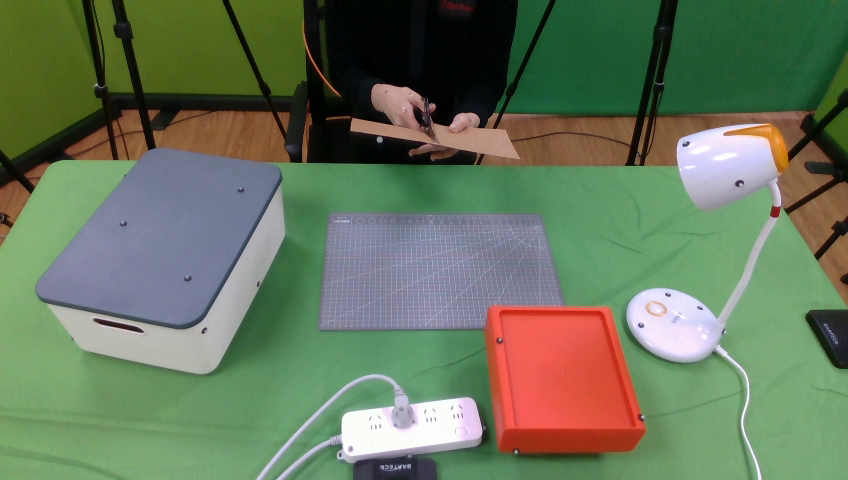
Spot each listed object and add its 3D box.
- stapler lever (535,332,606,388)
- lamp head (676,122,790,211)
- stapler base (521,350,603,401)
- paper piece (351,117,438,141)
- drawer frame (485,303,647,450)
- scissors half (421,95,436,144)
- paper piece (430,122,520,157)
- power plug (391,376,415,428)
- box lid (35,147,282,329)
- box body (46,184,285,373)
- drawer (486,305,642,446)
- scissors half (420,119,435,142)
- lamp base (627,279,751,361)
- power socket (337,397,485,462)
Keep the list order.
[{"bbox_3d":[0.225,0.182,0.929,0.118,0.040,0.027,27,34,15],"label":"stapler lever"},{"bbox_3d":[0.423,-0.104,0.819,0.122,0.113,0.112,-13,33,40],"label":"lamp head"},{"bbox_3d":[0.217,0.203,0.942,0.130,0.024,0.041,26,34,16],"label":"stapler base"},{"bbox_3d":[-0.048,-0.180,0.975,0.135,0.004,0.135,8,17,-5],"label":"paper piece"},{"bbox_3d":[0.204,0.202,0.917,0.202,0.083,0.212,1,47,-4],"label":"drawer frame"},{"bbox_3d":[0.007,-0.205,1.032,0.013,0.040,0.174,-5,37,-4],"label":"scissors half"},{"bbox_3d":[0.081,-0.167,0.994,0.136,0.009,0.137,10,25,-9],"label":"paper piece"},{"bbox_3d":[-0.030,0.249,0.917,0.035,0.053,0.072,3,46,-1],"label":"power plug"},{"bbox_3d":[-0.411,-0.023,0.987,0.263,0.015,0.369,10,47,5],"label":"box lid"},{"bbox_3d":[-0.414,0.029,1.040,0.254,0.161,0.362,10,46,5],"label":"box body"},{"bbox_3d":[0.202,0.200,0.918,0.195,0.073,0.210,2,47,-4],"label":"drawer"},{"bbox_3d":[0.007,-0.185,1.041,0.013,0.040,0.174,0,13,-6],"label":"scissors half"},{"bbox_3d":[0.460,0.100,1.027,0.178,0.181,0.160,27,51,17],"label":"lamp base"},{"bbox_3d":[-0.018,0.285,0.915,0.227,0.033,0.071,-4,46,-8],"label":"power socket"}]
